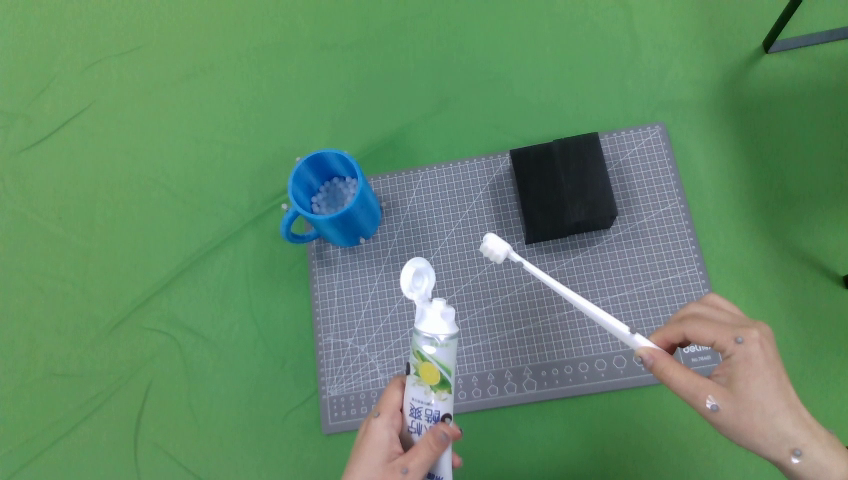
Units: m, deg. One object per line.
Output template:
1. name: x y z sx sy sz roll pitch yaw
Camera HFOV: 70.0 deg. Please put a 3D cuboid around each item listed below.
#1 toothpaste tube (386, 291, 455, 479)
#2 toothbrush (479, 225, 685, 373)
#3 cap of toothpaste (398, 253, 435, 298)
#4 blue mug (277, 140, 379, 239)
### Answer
1. toothpaste tube: 0.000 0.119 0.474 0.055 0.034 0.165 10 102 26
2. toothbrush: 0.117 0.045 0.450 0.182 0.014 0.016 35 40 1
3. cap of toothpaste: -0.004 0.028 0.470 0.011 0.038 0.037 5 71 50
4. blue mug: -0.115 -0.045 0.691 0.116 0.106 0.082 -37 73 -4
